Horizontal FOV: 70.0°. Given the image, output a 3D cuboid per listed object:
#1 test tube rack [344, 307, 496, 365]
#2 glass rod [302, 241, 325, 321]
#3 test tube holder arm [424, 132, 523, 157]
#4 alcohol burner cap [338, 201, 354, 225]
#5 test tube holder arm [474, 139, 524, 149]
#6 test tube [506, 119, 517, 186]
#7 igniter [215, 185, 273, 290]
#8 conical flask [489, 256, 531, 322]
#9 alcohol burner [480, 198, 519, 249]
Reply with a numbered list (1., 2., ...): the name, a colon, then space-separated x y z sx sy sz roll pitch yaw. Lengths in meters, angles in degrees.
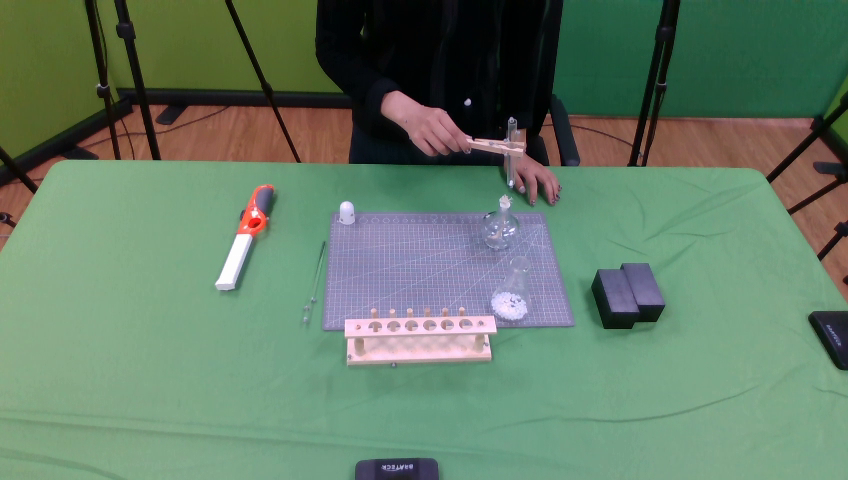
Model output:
1. test tube rack: -0.009 0.154 1.007 0.242 0.085 0.066 -1 46 -5
2. glass rod: -0.203 0.072 1.124 0.008 0.008 0.198 4 43 1
3. test tube holder arm: 0.085 -0.168 1.062 0.178 0.015 0.013 11 48 14
4. alcohol burner cap: -0.159 -0.056 1.224 0.034 0.048 0.033 2 47 -2
5. test tube holder arm: 0.130 -0.165 1.056 0.088 0.015 0.010 6 48 9
6. test tube: 0.152 -0.149 1.059 0.017 0.151 0.017 -3 50 4
7. igniter: -0.347 -0.014 1.182 0.057 0.025 0.275 -1 45 8
8. conical flask: 0.158 0.081 1.061 0.075 0.122 0.075 2 46 -2
9. alcohol burner: 0.150 -0.039 1.182 0.078 0.119 0.077 3 47 -3
